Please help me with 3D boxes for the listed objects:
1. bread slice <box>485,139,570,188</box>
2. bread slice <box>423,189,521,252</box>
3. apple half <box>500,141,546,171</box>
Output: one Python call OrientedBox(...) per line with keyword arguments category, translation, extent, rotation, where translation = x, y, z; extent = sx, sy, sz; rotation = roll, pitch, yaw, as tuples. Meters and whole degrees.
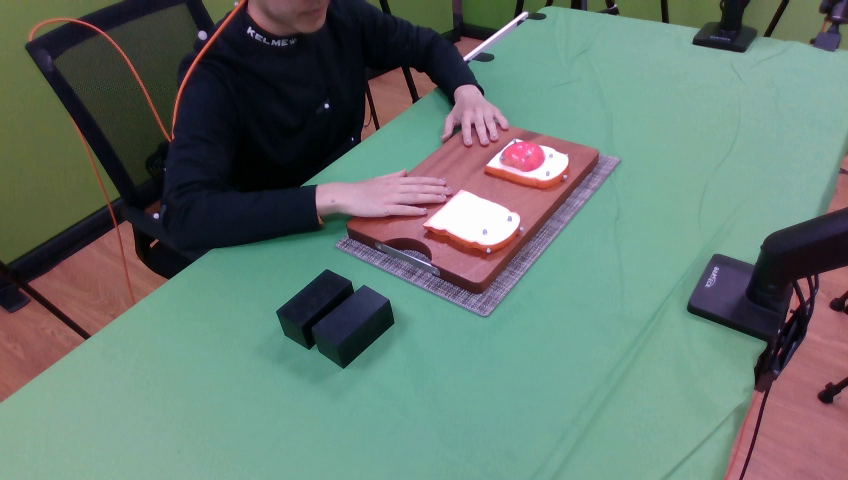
OrientedBox(category="bread slice", translation=(0.189, -0.135, 1.059), extent=(0.130, 0.019, 0.105), rotation=(21, 49, 30))
OrientedBox(category="bread slice", translation=(0.083, -0.030, 0.949), extent=(0.133, 0.018, 0.107), rotation=(22, 49, 28))
OrientedBox(category="apple half", translation=(0.173, -0.155, 1.048), extent=(0.081, 0.033, 0.081), rotation=(-4, 42, 5))
